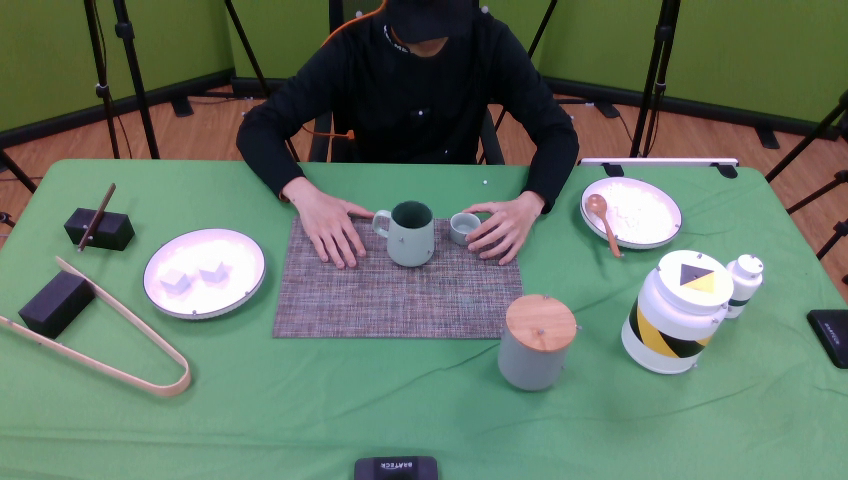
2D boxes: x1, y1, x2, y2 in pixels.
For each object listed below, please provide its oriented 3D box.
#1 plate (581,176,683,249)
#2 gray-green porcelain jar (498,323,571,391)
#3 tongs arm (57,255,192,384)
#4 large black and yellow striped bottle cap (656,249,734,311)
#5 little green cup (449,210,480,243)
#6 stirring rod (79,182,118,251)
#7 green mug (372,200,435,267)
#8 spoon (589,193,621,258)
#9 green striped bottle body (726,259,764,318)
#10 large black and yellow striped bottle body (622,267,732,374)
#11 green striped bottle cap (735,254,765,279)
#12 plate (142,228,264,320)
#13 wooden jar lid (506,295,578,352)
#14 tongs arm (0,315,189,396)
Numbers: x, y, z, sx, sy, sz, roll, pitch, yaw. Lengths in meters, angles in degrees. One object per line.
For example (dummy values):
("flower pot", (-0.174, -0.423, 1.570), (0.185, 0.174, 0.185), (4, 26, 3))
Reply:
("plate", (0.430, -0.054, 1.267), (0.209, 0.038, 0.208), (2, 46, -2))
("gray-green porcelain jar", (0.176, 0.172, 0.971), (0.106, 0.127, 0.105), (2, 46, -2))
("tongs arm", (-0.517, 0.126, 1.033), (0.386, 0.028, 0.028), (30, 43, 23))
("large black and yellow striped bottle cap", (0.419, 0.061, 0.938), (0.115, 0.019, 0.114), (2, 47, -2))
("little green cup", (0.079, -0.025, 1.205), (0.061, 0.039, 0.061), (1, 52, -2))
("stirring rod", (-0.605, -0.046, 1.131), (0.006, 0.014, 0.175), (0, 46, 1))
("green mug", (-0.040, -0.016, 1.146), (0.125, 0.105, 0.092), (17, 48, 13))
("spoon", (0.368, -0.032, 1.220), (0.041, 0.022, 0.192), (1, 38, -1))
("green striped bottle body", (0.563, 0.081, 1.089), (0.063, 0.120, 0.063), (2, 46, -2))
("large black and yellow striped bottle body", (0.415, 0.119, 0.997), (0.131, 0.185, 0.130), (2, 46, -2))
("green striped bottle cap", (0.566, 0.046, 1.051), (0.044, 0.020, 0.044), (0, 45, 0))
("plate", (-0.394, 0.064, 1.095), (0.208, 0.039, 0.206), (2, 46, -2))
("wooden jar lid", (0.179, 0.130, 0.926), (0.108, 0.021, 0.107), (2, 43, -2))
("tongs arm", (-0.555, 0.170, 0.981), (0.384, 0.026, 0.050), (21, 43, 14))
